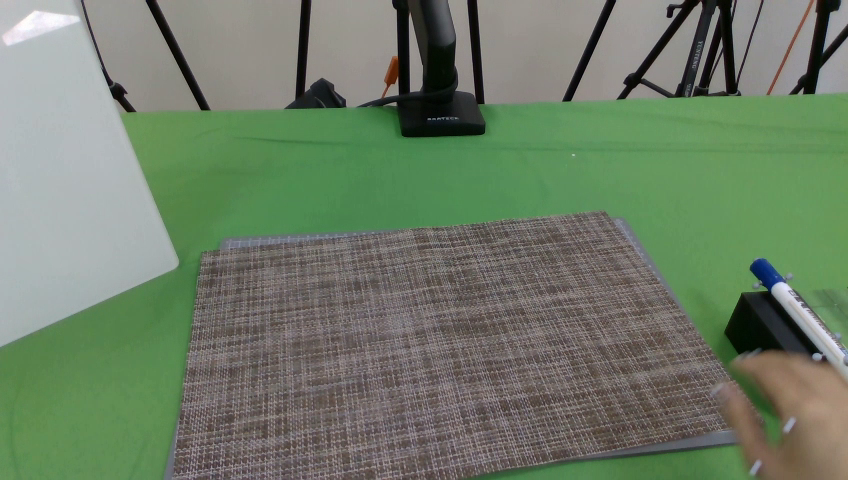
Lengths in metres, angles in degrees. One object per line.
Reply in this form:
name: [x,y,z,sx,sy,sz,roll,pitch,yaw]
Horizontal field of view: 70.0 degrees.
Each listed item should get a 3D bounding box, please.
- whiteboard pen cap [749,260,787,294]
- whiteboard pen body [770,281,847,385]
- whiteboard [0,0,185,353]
whiteboard pen cap: [0.305,0.033,0.535,0.018,0.018,0.033,-4,36,-6]
whiteboard pen body: [0.313,0.070,0.488,0.017,0.017,0.139,-4,38,-7]
whiteboard: [-0.394,-0.075,0.543,0.217,0.307,0.142,-29,28,-32]
